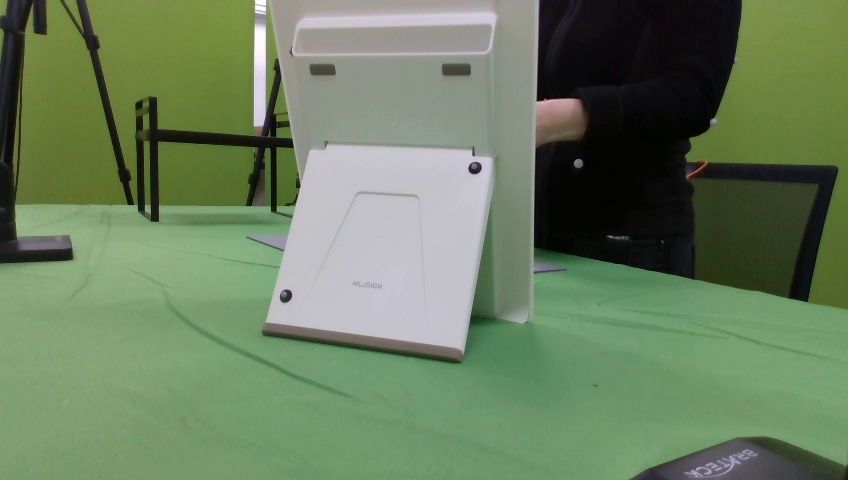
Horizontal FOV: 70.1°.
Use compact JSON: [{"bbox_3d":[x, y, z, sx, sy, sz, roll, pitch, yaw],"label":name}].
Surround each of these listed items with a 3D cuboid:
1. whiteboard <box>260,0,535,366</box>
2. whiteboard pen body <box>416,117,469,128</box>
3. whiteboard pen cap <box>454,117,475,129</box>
[{"bbox_3d":[-0.037,-0.041,0.457,0.216,0.305,0.144,5,28,19],"label":"whiteboard"},{"bbox_3d":[0.027,-0.176,0.906,0.017,0.017,0.140,-2,10,-31],"label":"whiteboard pen body"},{"bbox_3d":[0.056,-0.165,0.857,0.018,0.018,0.033,-2,10,-30],"label":"whiteboard pen cap"}]
